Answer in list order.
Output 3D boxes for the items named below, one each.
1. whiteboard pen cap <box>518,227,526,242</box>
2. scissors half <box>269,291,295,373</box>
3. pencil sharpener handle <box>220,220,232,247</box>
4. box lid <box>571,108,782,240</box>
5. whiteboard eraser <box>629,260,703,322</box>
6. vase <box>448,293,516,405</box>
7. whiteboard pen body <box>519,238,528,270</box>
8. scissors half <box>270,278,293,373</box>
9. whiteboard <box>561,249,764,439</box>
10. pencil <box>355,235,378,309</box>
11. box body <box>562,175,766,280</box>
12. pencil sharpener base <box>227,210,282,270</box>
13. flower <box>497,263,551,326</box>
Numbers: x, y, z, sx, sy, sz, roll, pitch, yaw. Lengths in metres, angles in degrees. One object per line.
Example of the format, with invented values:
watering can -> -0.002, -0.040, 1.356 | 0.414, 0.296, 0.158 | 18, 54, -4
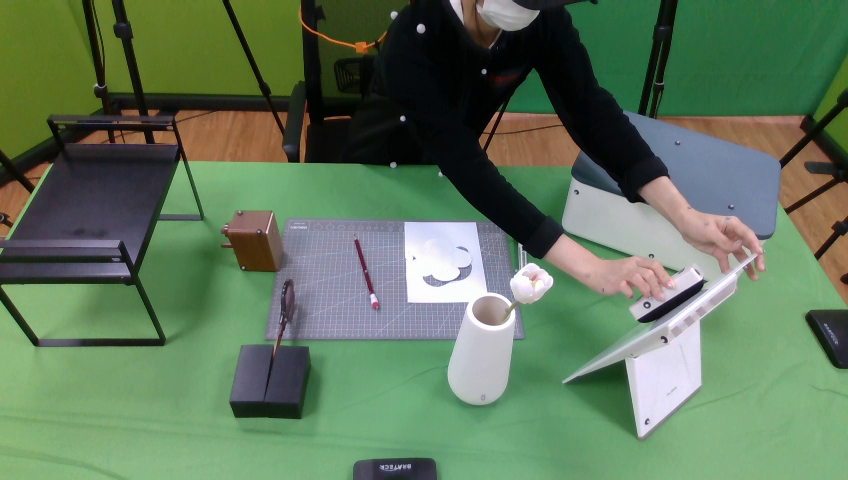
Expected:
whiteboard pen cap -> 0.197, -0.009, 1.220 | 0.018, 0.018, 0.033 | 5, 51, 0
scissors half -> -0.237, 0.151, 1.009 | 0.013, 0.040, 0.174 | 4, 38, -1
pencil sharpener handle -> -0.362, -0.009, 1.104 | 0.030, 0.068, 0.036 | 1, 52, 1
box lid -> 0.491, -0.139, 1.168 | 0.370, 0.015, 0.262 | 21, 49, 15
whiteboard eraser -> 0.361, 0.079, 0.899 | 0.042, 0.113, 0.055 | 51, 26, 7
vase -> 0.091, 0.169, 0.921 | 0.098, 0.201, 0.097 | 3, 47, -3
whiteboard pen body -> 0.194, 0.035, 1.180 | 0.017, 0.017, 0.140 | 6, 49, 2
scissors half -> -0.236, 0.137, 0.994 | 0.013, 0.040, 0.174 | 0, 55, 3
whiteboard -> 0.386, 0.176, 0.905 | 0.217, 0.306, 0.143 | -26, 72, -26
pencil -> -0.112, 0.055, 1.143 | 0.012, 0.012, 0.192 | -9, 45, -13
box body -> 0.486, -0.088, 1.222 | 0.363, 0.161, 0.253 | 20, 48, 15
pencil sharpener base -> -0.311, 0.001, 1.112 | 0.077, 0.107, 0.061 | 1, 47, 1
flower -> 0.103, 0.121, 0.852 | 0.044, 0.363, 0.038 | -1, 64, -9
